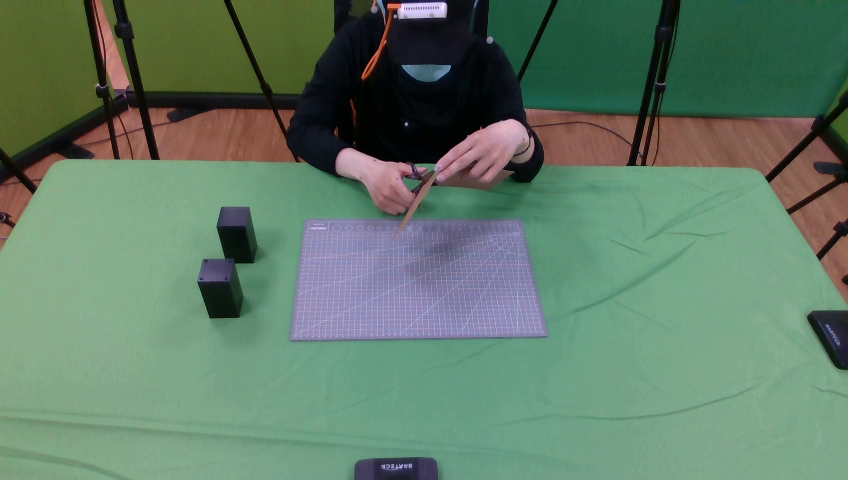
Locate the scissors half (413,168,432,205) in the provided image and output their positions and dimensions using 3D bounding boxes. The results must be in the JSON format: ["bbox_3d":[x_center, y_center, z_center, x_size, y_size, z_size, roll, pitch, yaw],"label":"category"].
[{"bbox_3d":[0.000,-0.106,1.179,0.013,0.175,0.040,-17,77,-13],"label":"scissors half"}]

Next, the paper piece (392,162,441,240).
[{"bbox_3d":[-0.016,-0.068,1.093,0.004,0.135,0.135,33,72,0],"label":"paper piece"}]

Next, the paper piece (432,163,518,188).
[{"bbox_3d":[0.087,-0.120,1.136,0.138,0.136,0.008,3,83,-15],"label":"paper piece"}]

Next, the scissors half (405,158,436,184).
[{"bbox_3d":[-0.007,-0.129,1.177,0.013,0.040,0.174,-22,24,-12],"label":"scissors half"}]
